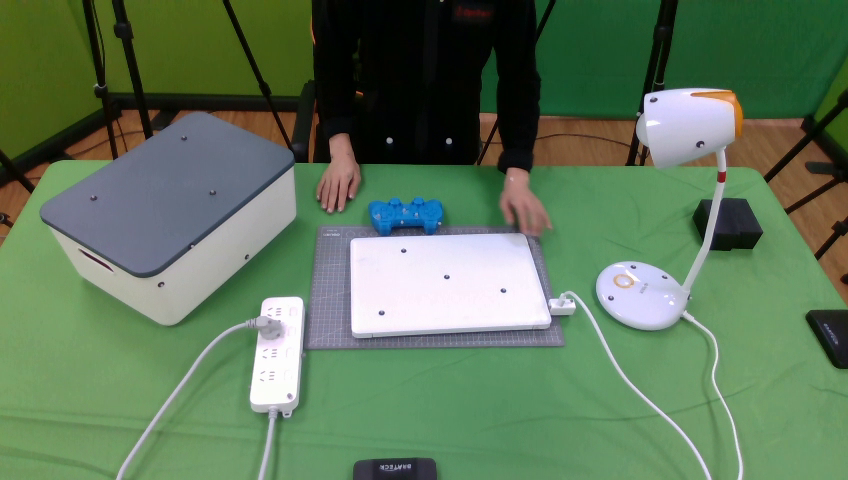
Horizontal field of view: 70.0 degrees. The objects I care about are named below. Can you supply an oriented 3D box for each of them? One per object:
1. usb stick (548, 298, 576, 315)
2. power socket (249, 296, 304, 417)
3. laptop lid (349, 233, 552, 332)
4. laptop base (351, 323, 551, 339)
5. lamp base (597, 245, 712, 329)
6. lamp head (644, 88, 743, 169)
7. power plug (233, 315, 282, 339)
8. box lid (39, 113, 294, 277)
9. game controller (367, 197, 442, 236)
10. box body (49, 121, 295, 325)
[{"bbox_3d":[0.240,0.120,1.086,0.059,0.027,0.021,-2,51,-2],"label":"usb stick"},{"bbox_3d":[-0.239,0.182,0.996,0.072,0.033,0.225,-2,47,-5],"label":"power socket"},{"bbox_3d":[0.040,0.071,1.118,0.357,0.013,0.240,-1,44,-5],"label":"laptop lid"},{"bbox_3d":[0.040,0.080,1.125,0.355,0.023,0.234,-2,43,-6],"label":"laptop base"},{"bbox_3d":[0.418,0.051,1.071,0.179,0.181,0.160,22,49,13],"label":"lamp base"},{"bbox_3d":[0.380,-0.161,0.851,0.122,0.113,0.112,-4,42,25],"label":"lamp head"},{"bbox_3d":[-0.271,0.144,0.999,0.072,0.053,0.035,6,46,3],"label":"power plug"},{"bbox_3d":[-0.435,-0.096,1.056,0.262,0.015,0.370,25,48,18],"label":"box lid"},{"bbox_3d":[-0.037,-0.057,1.231,0.155,0.052,0.096,-2,49,-6],"label":"game controller"},{"bbox_3d":[-0.437,-0.046,1.110,0.253,0.161,0.363,24,49,19],"label":"box body"}]
